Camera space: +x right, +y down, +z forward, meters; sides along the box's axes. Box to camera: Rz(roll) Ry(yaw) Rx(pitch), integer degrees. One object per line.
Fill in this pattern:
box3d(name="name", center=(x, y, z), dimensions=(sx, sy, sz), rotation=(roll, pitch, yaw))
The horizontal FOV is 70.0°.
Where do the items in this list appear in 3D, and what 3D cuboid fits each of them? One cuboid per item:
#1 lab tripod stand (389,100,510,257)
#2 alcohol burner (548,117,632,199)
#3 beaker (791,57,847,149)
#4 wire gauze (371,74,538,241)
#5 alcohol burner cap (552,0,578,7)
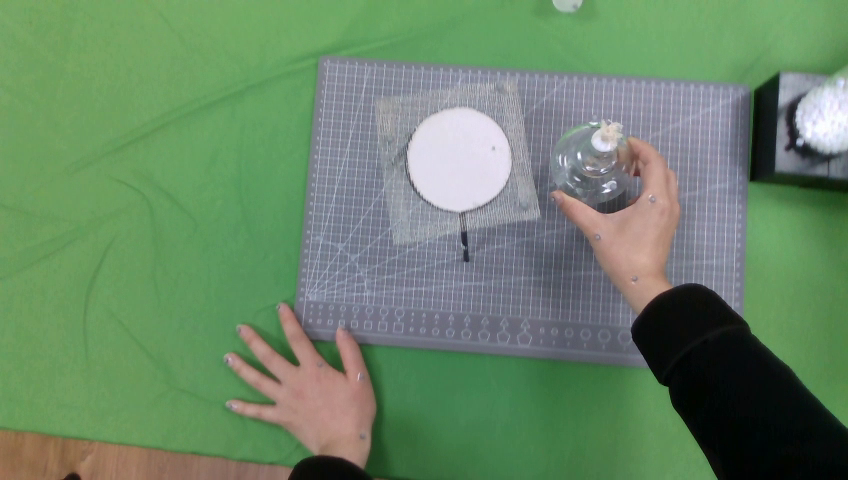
box3d(name="lab tripod stand", center=(0.030, -0.061, 0.559), dimensions=(0.148, 0.131, 0.148), rotation=(0, 86, 0))
box3d(name="alcohol burner", center=(0.154, -0.080, 0.550), dimensions=(0.078, 0.119, 0.077), rotation=(-1, 77, 4))
box3d(name="beaker", center=(0.378, -0.126, 0.525), dimensions=(0.074, 0.100, 0.084), rotation=(15, 84, 4))
box3d(name="wire gauze", center=(0.024, -0.069, 0.493), dimensions=(0.121, 0.011, 0.125), rotation=(-9, 87, 0))
box3d(name="alcohol burner cap", center=(0.149, -0.265, 0.622), dimensions=(0.034, 0.048, 0.034), rotation=(0, 85, 5))
